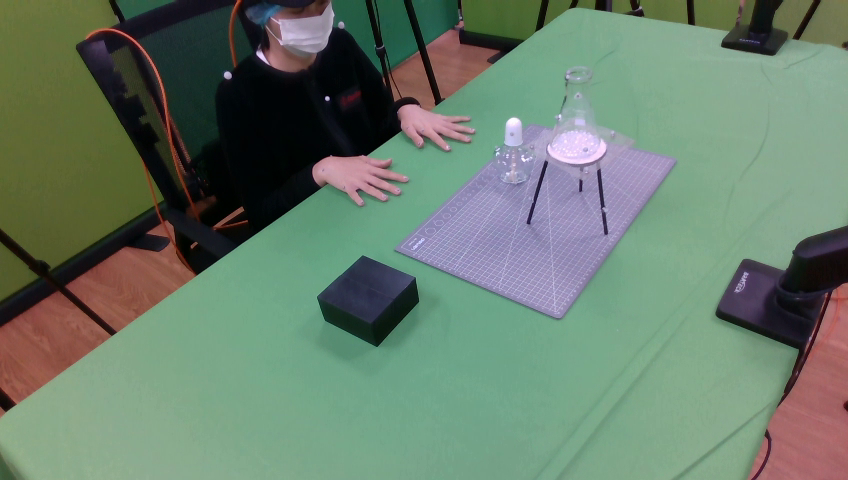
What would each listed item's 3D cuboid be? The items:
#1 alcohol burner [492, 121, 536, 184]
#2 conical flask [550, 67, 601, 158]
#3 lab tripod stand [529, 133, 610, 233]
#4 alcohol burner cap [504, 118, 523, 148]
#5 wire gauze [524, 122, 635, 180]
[{"bbox_3d":[0.159,-0.158,1.064,0.078,0.119,0.077,-3,41,3],"label":"alcohol burner"},{"bbox_3d":[0.221,-0.186,0.875,0.075,0.122,0.075,-5,40,5],"label":"conical flask"},{"bbox_3d":[0.236,-0.089,0.953,0.148,0.132,0.147,-5,42,5],"label":"lab tripod stand"},{"bbox_3d":[0.154,-0.186,1.042,0.034,0.048,0.033,-4,33,3],"label":"alcohol burner cap"},{"bbox_3d":[0.233,-0.142,0.913,0.122,0.011,0.124,-31,43,-26],"label":"wire gauze"}]
